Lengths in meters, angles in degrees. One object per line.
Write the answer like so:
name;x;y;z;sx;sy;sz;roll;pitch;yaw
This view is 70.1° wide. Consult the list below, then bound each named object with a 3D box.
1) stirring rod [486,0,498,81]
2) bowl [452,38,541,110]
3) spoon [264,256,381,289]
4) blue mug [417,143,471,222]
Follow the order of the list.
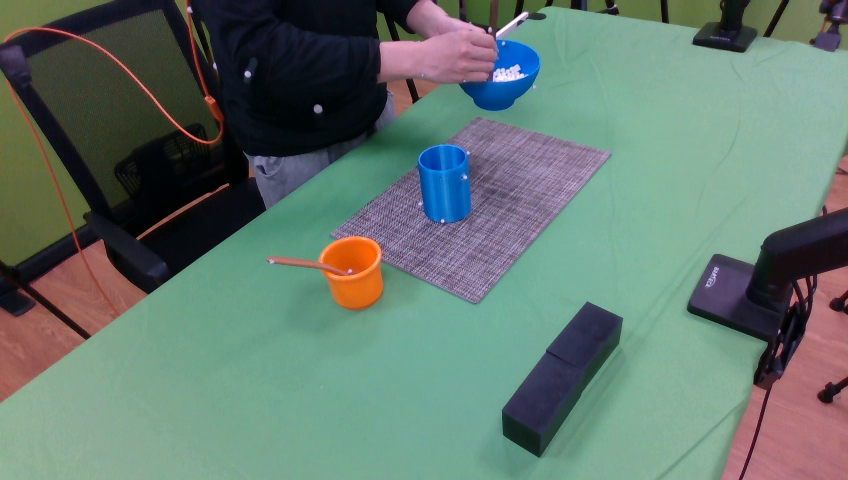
stirring rod;0.108;-0.307;0.974;0.014;0.177;0.006;-34;57;-22
bowl;0.123;-0.278;1.045;0.151;0.077;0.150;-1;45;1
spoon;-0.136;0.041;0.842;0.021;0.195;0.041;-56;46;13
blue mug;0.031;-0.104;1.014;0.082;0.106;0.115;-14;41;-7
